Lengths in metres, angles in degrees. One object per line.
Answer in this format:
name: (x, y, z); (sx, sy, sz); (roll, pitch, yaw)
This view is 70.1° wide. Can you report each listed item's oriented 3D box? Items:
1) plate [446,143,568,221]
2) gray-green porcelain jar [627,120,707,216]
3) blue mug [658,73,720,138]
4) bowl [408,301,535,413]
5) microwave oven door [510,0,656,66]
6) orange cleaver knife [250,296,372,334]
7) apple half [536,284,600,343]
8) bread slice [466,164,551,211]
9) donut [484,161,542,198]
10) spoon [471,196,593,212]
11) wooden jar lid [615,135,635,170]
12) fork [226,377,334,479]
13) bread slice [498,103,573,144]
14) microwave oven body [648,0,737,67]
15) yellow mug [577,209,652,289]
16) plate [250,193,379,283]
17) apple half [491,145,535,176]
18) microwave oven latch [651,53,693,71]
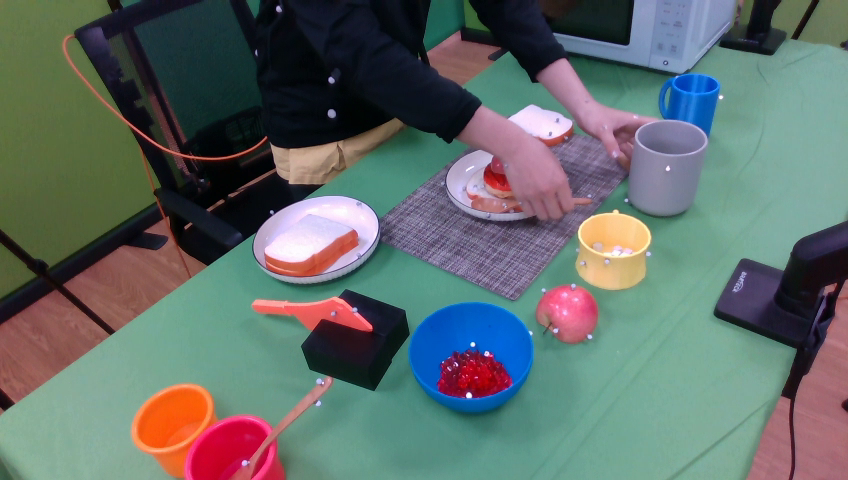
plate: (0.143, -0.097, 1.045); (0.207, 0.039, 0.206); (-4, 40, 4)
gray-green porcelain jar: (0.383, -0.110, 0.964); (0.106, 0.127, 0.105); (-4, 41, 4)
blue mug: (0.483, -0.250, 1.127); (0.082, 0.106, 0.115); (-26, 44, -19)
bowl: (0.060, 0.156, 0.739); (0.151, 0.077, 0.150); (-4, 40, 4)
microwave oven door: (0.350, -0.539, 1.349); (0.353, 0.245, 0.039); (24, 50, 31)
orange cleaver knife: (-0.158, 0.103, 0.828); (0.210, 0.078, 0.012); (-4, 43, 39)
apple half: (0.196, 0.090, 0.815); (0.075, 0.053, 0.080); (-22, 43, -20)
bread slice: (0.141, -0.092, 1.043); (0.133, 0.018, 0.107); (11, 43, 18)
donut: (0.149, -0.109, 1.016); (0.099, 0.048, 0.098); (-4, 41, 4)
spoon: (0.171, -0.061, 0.973); (0.193, 0.022, 0.041); (-4, 40, 17)
wooden jar lid: (0.398, -0.151, 1.086); (0.108, 0.021, 0.108); (-2, 43, 2)
fork: (-0.163, 0.216, 0.647); (0.207, 0.019, 0.028); (-49, 41, 16)
bread slice: (0.230, -0.232, 1.204); (0.105, 0.019, 0.130); (-36, 48, -29)
microwave oven body: (0.475, -0.602, 1.411); (0.438, 0.261, 0.327); (23, 50, 32)
yellow mug: (0.279, 0.004, 0.893); (0.099, 0.064, 0.130); (5, 42, 15)
plate: (-0.174, -0.001, 0.984); (0.209, 0.038, 0.208); (-4, 41, 4)
apple half: (0.147, -0.138, 0.994); (0.081, 0.033, 0.081); (1, 38, 0)
microwave oven latch: (0.532, -0.386, 1.301); (0.078, 0.029, 0.030); (27, 52, 34)
